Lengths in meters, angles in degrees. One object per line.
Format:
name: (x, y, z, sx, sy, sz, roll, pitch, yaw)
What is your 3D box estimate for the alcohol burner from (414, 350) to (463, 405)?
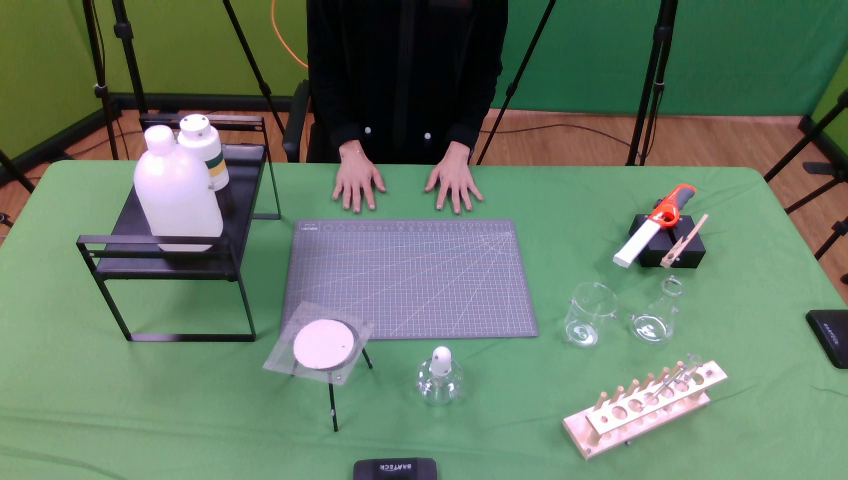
alcohol burner: (0.023, 0.205, 0.939, 0.078, 0.120, 0.077, 1, 48, -1)

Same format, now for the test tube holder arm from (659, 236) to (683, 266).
test tube holder arm: (0.472, 0.020, 1.149, 0.010, 0.015, 0.088, 35, 54, 27)

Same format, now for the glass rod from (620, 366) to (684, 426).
glass rod: (0.322, 0.227, 0.866, 0.008, 0.200, 0.008, 5, 51, -7)

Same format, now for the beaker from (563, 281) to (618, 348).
beaker: (0.283, 0.129, 1.041, 0.074, 0.101, 0.083, 11, 46, 6)

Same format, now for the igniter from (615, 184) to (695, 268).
igniter: (0.459, -0.035, 1.197, 0.057, 0.025, 0.276, 33, 55, 27)

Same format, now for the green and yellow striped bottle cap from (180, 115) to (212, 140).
green and yellow striped bottle cap: (-0.358, -0.177, 0.951, 0.045, 0.020, 0.045, 1, 45, -1)

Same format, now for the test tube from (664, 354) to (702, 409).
test tube: (0.384, 0.214, 0.907, 0.017, 0.151, 0.017, -1, 49, 1)

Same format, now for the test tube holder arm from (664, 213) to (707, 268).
test tube holder arm: (0.507, -0.001, 1.171, 0.013, 0.015, 0.178, 34, 54, 26)

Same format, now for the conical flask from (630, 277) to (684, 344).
conical flask: (0.408, 0.117, 1.045, 0.075, 0.122, 0.075, 2, 46, -2)

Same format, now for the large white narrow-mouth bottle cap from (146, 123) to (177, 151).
large white narrow-mouth bottle cap: (-0.354, -0.138, 0.815, 0.038, 0.024, 0.037, 2, 44, -1)

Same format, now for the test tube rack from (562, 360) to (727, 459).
test tube rack: (0.341, 0.247, 0.940, 0.243, 0.085, 0.066, -16, 49, -19)

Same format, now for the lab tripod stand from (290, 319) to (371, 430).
lab tripod stand: (-0.146, 0.193, 0.923, 0.148, 0.132, 0.147, 1, 47, -1)

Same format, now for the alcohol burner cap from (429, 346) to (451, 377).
alcohol burner cap: (0.026, 0.180, 0.912, 0.034, 0.048, 0.033, 1, 47, -1)

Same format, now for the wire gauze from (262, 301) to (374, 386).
wire gauze: (-0.150, 0.148, 0.873, 0.121, 0.011, 0.124, 14, 46, 12)

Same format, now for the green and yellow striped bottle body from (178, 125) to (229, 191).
green and yellow striped bottle body: (-0.361, -0.142, 0.989, 0.063, 0.120, 0.063, 2, 46, -2)

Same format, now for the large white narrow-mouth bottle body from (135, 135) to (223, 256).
large white narrow-mouth bottle body: (-0.358, -0.075, 0.874, 0.102, 0.195, 0.101, 2, 44, -1)
